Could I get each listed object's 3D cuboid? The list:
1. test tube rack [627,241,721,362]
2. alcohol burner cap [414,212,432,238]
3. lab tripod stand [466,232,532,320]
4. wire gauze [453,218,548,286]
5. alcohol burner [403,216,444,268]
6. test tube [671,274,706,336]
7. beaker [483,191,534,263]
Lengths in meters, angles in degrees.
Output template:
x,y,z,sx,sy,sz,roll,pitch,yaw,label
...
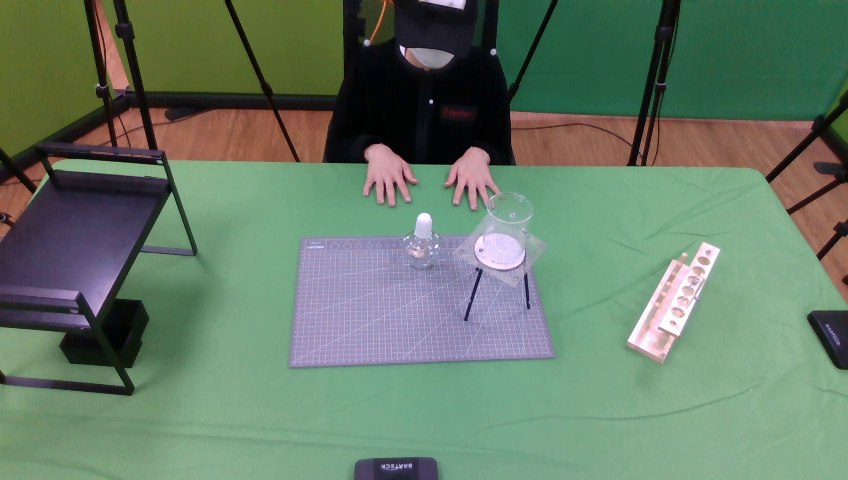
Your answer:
x,y,z,sx,sy,sz,roll,pitch,yaw,label
0.452,0.098,1.087,0.066,0.085,0.242,28,51,22,test tube rack
0.000,-0.030,1.107,0.034,0.048,0.033,4,41,-3,alcohol burner cap
0.125,0.059,1.065,0.148,0.132,0.147,1,45,0,lab tripod stand
0.129,0.014,1.019,0.124,0.011,0.121,25,47,25,wire gauze
-0.001,-0.004,1.132,0.078,0.120,0.077,1,46,0,alcohol burner
0.429,0.112,1.004,0.017,0.151,0.017,4,43,-4,test tube
0.135,-0.020,0.983,0.073,0.101,0.084,28,50,23,beaker
